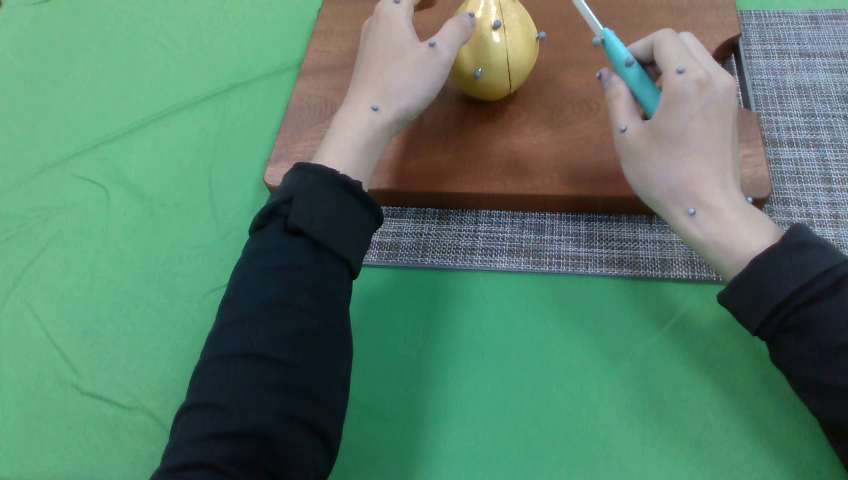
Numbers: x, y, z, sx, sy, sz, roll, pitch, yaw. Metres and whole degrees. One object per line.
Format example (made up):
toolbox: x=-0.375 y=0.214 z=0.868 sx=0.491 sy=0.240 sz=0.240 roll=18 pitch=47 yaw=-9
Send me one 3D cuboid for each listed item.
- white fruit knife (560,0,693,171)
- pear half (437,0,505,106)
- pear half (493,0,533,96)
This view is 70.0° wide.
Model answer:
white fruit knife: x=0.123 y=-0.134 z=0.421 sx=0.016 sy=0.027 sz=0.207 roll=-37 pitch=91 yaw=6
pear half: x=0.037 y=-0.164 z=0.494 sx=0.056 sy=0.111 sz=0.075 roll=-11 pitch=52 yaw=0
pear half: x=0.073 y=-0.163 z=0.501 sx=0.031 sy=0.089 sz=0.069 roll=-11 pitch=53 yaw=1
